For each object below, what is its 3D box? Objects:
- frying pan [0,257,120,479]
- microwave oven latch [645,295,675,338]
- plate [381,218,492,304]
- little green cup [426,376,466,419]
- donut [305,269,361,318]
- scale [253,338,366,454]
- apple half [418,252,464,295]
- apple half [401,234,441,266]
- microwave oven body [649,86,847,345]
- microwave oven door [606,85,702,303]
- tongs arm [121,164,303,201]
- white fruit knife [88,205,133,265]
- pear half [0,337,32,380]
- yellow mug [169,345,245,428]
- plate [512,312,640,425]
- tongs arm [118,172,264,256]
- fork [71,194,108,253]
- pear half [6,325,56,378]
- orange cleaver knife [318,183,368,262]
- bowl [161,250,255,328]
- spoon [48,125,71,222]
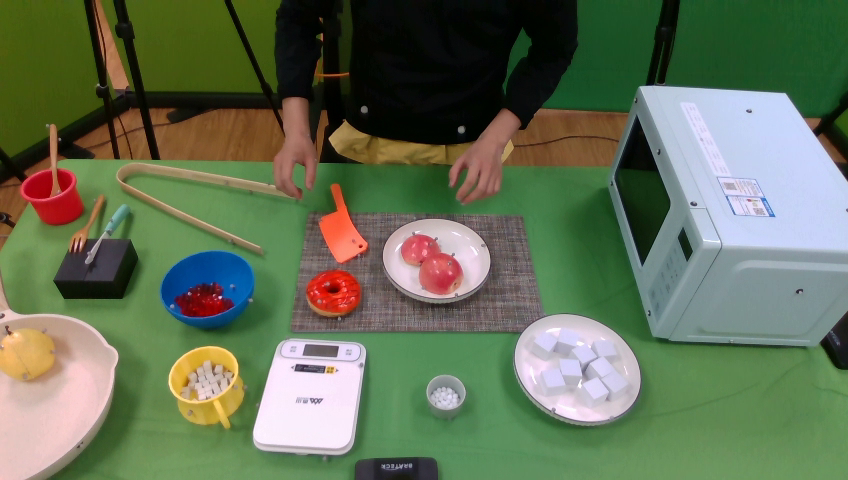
[{"bbox_3d":[-0.647,0.164,0.936,0.307,0.103,0.485,-19,58,-22],"label":"frying pan"},{"bbox_3d":[0.412,0.134,1.061,0.030,0.029,0.078,3,45,0],"label":"microwave oven latch"},{"bbox_3d":[0.023,0.042,1.143,0.209,0.038,0.208,2,46,-2],"label":"plate"},{"bbox_3d":[0.033,0.248,0.950,0.061,0.039,0.061,2,46,-2],"label":"little green cup"},{"bbox_3d":[-0.160,0.094,1.075,0.099,0.048,0.098,3,45,-3],"label":"donut"},{"bbox_3d":[-0.175,0.236,0.951,0.149,0.032,0.199,5,45,-1],"label":"scale"},{"bbox_3d":[0.033,0.055,1.109,0.081,0.053,0.074,-31,59,-28],"label":"apple half"},{"bbox_3d":[-0.005,0.014,1.159,0.081,0.033,0.081,5,44,-4],"label":"apple half"},{"bbox_3d":[0.567,-0.053,1.118,0.326,0.261,0.439,2,45,-1],"label":"microwave oven body"},{"bbox_3d":[0.423,-0.094,1.140,0.039,0.245,0.353,2,46,-1],"label":"microwave oven door"},{"bbox_3d":[-0.444,-0.114,1.266,0.384,0.026,0.050,12,51,8],"label":"tongs arm"},{"bbox_3d":[-0.584,-0.013,1.129,0.016,0.027,0.206,-1,32,-5],"label":"white fruit knife"},{"bbox_3d":[-0.631,0.184,0.921,0.070,0.088,0.031,29,49,19],"label":"pear half"},{"bbox_3d":[-0.322,0.230,0.922,0.100,0.064,0.130,-24,53,-25],"label":"yellow mug"},{"bbox_3d":[0.246,0.213,0.999,0.208,0.039,0.206,2,46,-2],"label":"plate"},{"bbox_3d":[-0.474,-0.053,1.211,0.386,0.028,0.028,24,57,17],"label":"tongs arm"},{"bbox_3d":[-0.634,-0.036,1.158,0.028,0.019,0.206,-8,32,-8],"label":"fork"},{"bbox_3d":[-0.608,0.158,0.935,0.076,0.110,0.056,31,51,20],"label":"pear half"},{"bbox_3d":[-0.173,-0.037,1.218,0.077,0.012,0.210,-16,50,-12],"label":"orange cleaver knife"},{"bbox_3d":[-0.362,0.098,1.039,0.151,0.077,0.150,2,45,-2],"label":"bowl"},{"bbox_3d":[-0.718,-0.131,1.188,0.041,0.021,0.193,-3,90,-7],"label":"spoon"}]
